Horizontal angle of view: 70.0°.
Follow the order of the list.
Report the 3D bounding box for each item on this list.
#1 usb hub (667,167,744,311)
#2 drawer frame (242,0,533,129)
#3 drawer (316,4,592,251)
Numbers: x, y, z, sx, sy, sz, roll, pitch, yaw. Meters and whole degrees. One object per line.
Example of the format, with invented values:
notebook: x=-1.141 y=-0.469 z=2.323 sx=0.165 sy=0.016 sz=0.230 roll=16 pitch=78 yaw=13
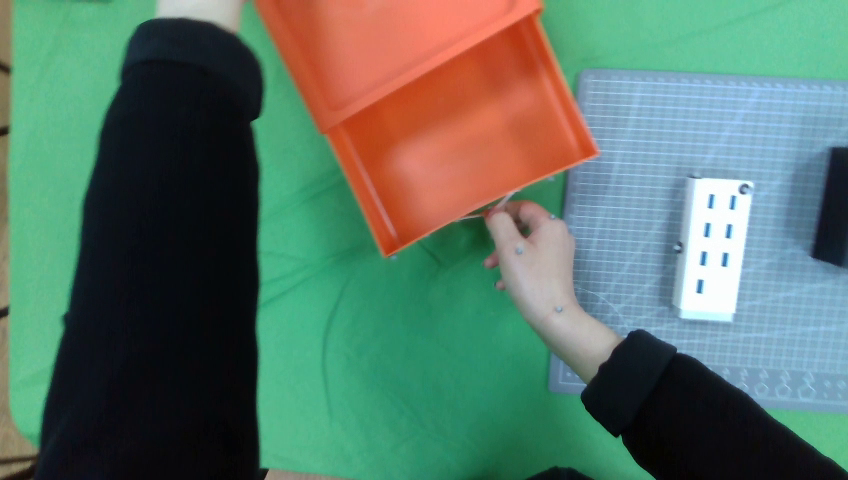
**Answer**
usb hub: x=0.249 y=0.000 z=0.537 sx=0.049 sy=0.025 sz=0.125 roll=2 pitch=100 yaw=3
drawer frame: x=-0.051 y=-0.230 z=0.493 sx=0.201 sy=0.082 sz=0.214 roll=-29 pitch=95 yaw=8
drawer: x=0.005 y=-0.127 z=0.510 sx=0.194 sy=0.073 sz=0.212 roll=-26 pitch=96 yaw=9
